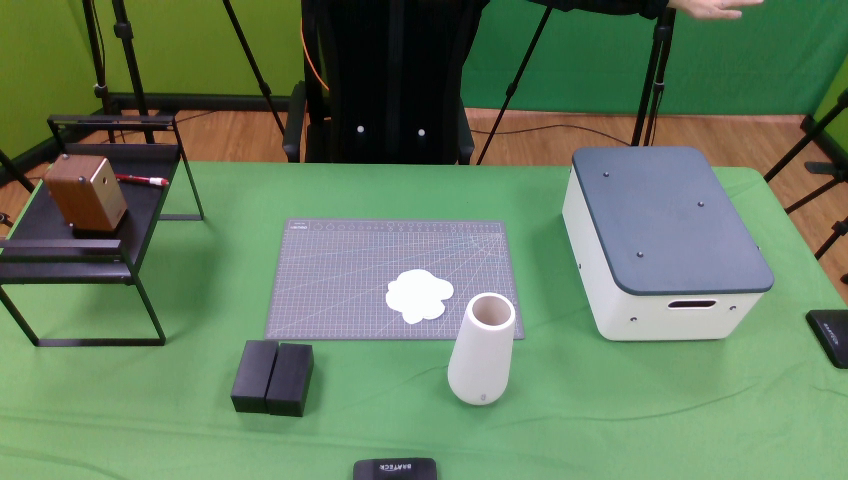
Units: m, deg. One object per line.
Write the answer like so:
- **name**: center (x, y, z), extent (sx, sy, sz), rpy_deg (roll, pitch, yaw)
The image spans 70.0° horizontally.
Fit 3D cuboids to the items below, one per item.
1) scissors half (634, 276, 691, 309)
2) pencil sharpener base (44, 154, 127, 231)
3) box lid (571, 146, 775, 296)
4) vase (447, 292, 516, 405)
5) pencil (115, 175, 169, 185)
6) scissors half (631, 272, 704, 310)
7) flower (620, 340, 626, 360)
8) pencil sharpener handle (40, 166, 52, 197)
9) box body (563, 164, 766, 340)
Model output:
- **scissors half**: center (0.454, 0.096, 1.144), extent (0.175, 0.040, 0.013), rpy_deg (-19, 88, -31)
- **pencil sharpener base**: center (-0.512, -0.071, 0.918), extent (0.077, 0.107, 0.061), rpy_deg (3, 47, 0)
- **box lid**: center (0.424, -0.048, 1.074), extent (0.263, 0.015, 0.369), rpy_deg (-1, 46, -4)
- **vase**: center (0.091, 0.168, 0.921), extent (0.098, 0.201, 0.097), rpy_deg (3, 47, -3)
- **pencil**: center (-0.523, -0.106, 1.020), extent (0.194, 0.012, 0.012), rpy_deg (6, 46, 5)
- **scissors half**: center (0.460, 0.092, 1.132), extent (0.175, 0.040, 0.013), rpy_deg (-22, 83, -21)
- **flower**: center (0.416, 0.065, 1.186), extent (0.038, 0.044, 0.360), rpy_deg (29, 64, -21)
- **pencil sharpener handle**: center (-0.562, -0.085, 0.911), extent (0.030, 0.068, 0.036), rpy_deg (3, 58, 0)
- **box body**: center (0.421, 0.003, 1.130), extent (0.254, 0.161, 0.361), rpy_deg (0, 46, -5)
